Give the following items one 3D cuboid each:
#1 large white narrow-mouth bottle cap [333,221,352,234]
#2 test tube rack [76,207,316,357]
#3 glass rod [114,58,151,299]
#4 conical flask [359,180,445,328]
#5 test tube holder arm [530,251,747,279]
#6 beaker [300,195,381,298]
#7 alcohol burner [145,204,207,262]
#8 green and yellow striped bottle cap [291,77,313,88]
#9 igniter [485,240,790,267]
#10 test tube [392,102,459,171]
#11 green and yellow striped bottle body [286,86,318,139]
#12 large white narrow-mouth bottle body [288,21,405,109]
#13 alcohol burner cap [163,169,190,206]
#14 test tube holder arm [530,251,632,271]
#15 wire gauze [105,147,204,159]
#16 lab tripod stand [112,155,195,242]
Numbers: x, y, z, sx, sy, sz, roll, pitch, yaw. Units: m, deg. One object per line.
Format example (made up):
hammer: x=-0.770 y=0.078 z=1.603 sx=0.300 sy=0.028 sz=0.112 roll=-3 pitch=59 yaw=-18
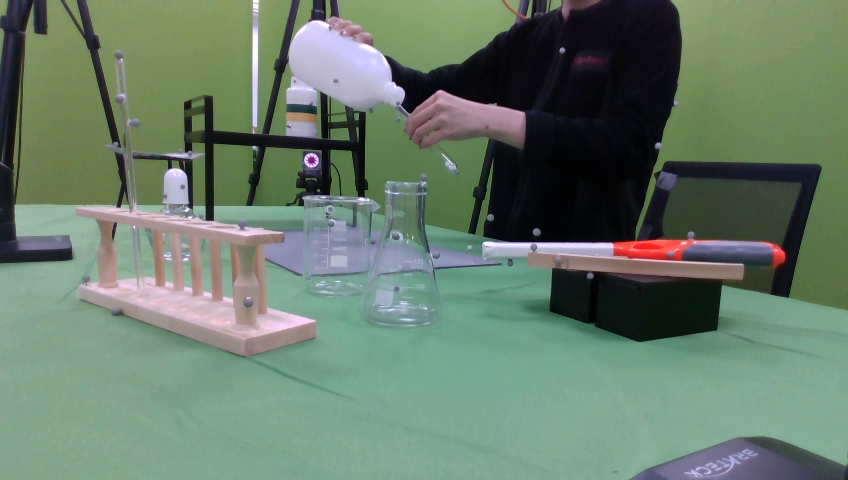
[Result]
large white narrow-mouth bottle cap: x=-0.152 y=-0.024 z=1.134 sx=0.038 sy=0.024 sz=0.037 roll=4 pitch=7 yaw=0
test tube rack: x=-0.196 y=0.023 z=0.500 sx=0.241 sy=0.085 sz=0.067 roll=8 pitch=9 yaw=36
glass rod: x=-0.236 y=-0.044 z=0.492 sx=0.008 sy=0.199 sz=0.008 roll=0 pitch=15 yaw=0
conical flask: x=-0.017 y=0.010 z=0.522 sx=0.075 sy=0.122 sz=0.075 roll=2 pitch=7 yaw=0
test tube holder arm: x=0.182 y=0.022 z=0.523 sx=0.178 sy=0.015 sz=0.013 roll=3 pitch=7 yaw=12
beaker: x=-0.087 y=0.006 z=0.626 sx=0.084 sy=0.100 sz=0.074 roll=1 pitch=8 yaw=-17
alcohol burner: x=-0.322 y=-0.032 z=0.788 sx=0.078 sy=0.119 sz=0.078 roll=0 pitch=7 yaw=0
green and yellow striped bottle cap: x=-0.250 y=-0.321 z=1.238 sx=0.045 sy=0.020 sz=0.045 roll=3 pitch=6 yaw=0
igniter: x=0.197 y=0.012 z=0.585 sx=0.276 sy=0.025 sz=0.057 roll=1 pitch=5 yaw=12
test tube: x=0.002 y=-0.159 z=0.932 sx=0.150 sy=0.017 sz=0.017 roll=48 pitch=26 yaw=17
green and yellow striped bottle body: x=-0.251 y=-0.270 z=1.245 sx=0.063 sy=0.119 sz=0.063 roll=2 pitch=7 yaw=0
large white narrow-mouth bottle body: x=-0.117 y=-0.270 z=0.978 sx=0.194 sy=0.101 sz=0.102 roll=31 pitch=16 yaw=14
alcohol burner cap: x=-0.321 y=-0.068 z=0.782 sx=0.034 sy=0.048 sz=0.034 roll=1 pitch=7 yaw=0
test tube holder arm: x=0.139 y=0.019 z=0.538 sx=0.087 sy=0.015 sz=0.010 roll=3 pitch=7 yaw=13
wire gauze: x=-0.407 y=-0.131 z=0.929 sx=0.125 sy=0.011 sz=0.121 roll=2 pitch=6 yaw=-11
lab tripod stand: x=-0.405 y=-0.064 z=0.931 sx=0.148 sy=0.131 sz=0.148 roll=1 pitch=6 yaw=0
